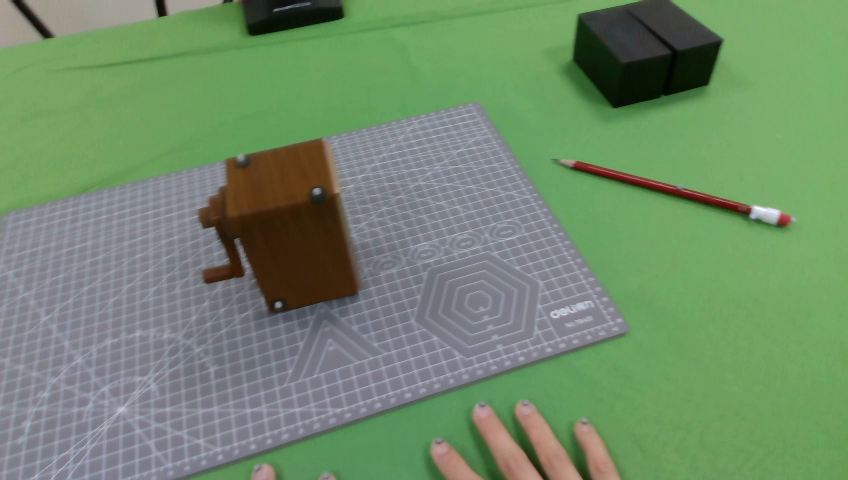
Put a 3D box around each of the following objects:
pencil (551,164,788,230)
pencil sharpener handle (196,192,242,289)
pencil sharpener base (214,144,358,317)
[{"bbox_3d":[0.200,-0.040,0.511,0.193,0.012,0.012,19,51,22],"label":"pencil"},{"bbox_3d":[-0.144,0.003,0.409,0.031,0.068,0.035,-14,31,-7],"label":"pencil sharpener handle"},{"bbox_3d":[-0.095,-0.003,0.428,0.077,0.108,0.060,-14,48,-7],"label":"pencil sharpener base"}]
